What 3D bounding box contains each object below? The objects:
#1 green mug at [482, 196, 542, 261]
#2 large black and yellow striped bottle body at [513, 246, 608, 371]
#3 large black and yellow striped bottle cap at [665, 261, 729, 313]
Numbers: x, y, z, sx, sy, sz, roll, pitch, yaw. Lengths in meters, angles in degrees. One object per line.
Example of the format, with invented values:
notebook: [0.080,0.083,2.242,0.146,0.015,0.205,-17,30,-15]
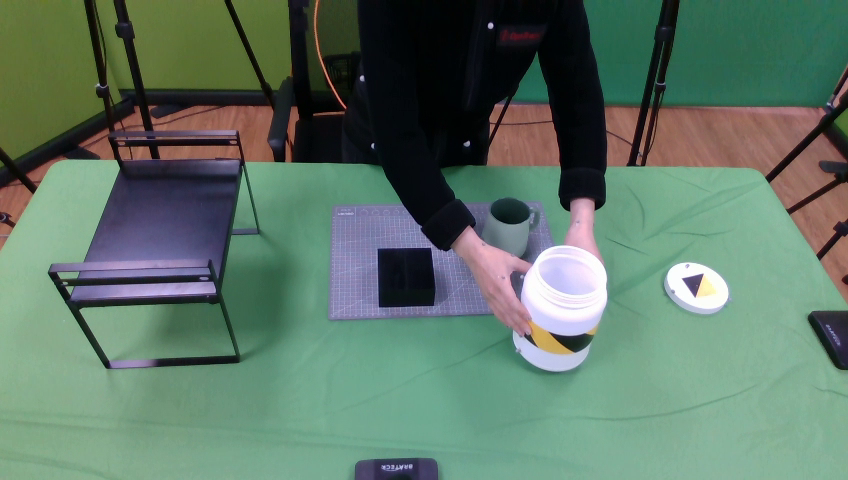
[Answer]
green mug: [0.175,-0.026,1.172,0.125,0.105,0.092,-21,50,-22]
large black and yellow striped bottle body: [0.220,0.110,0.977,0.131,0.185,0.130,1,45,-1]
large black and yellow striped bottle cap: [0.519,0.088,1.152,0.115,0.019,0.114,2,47,-2]
